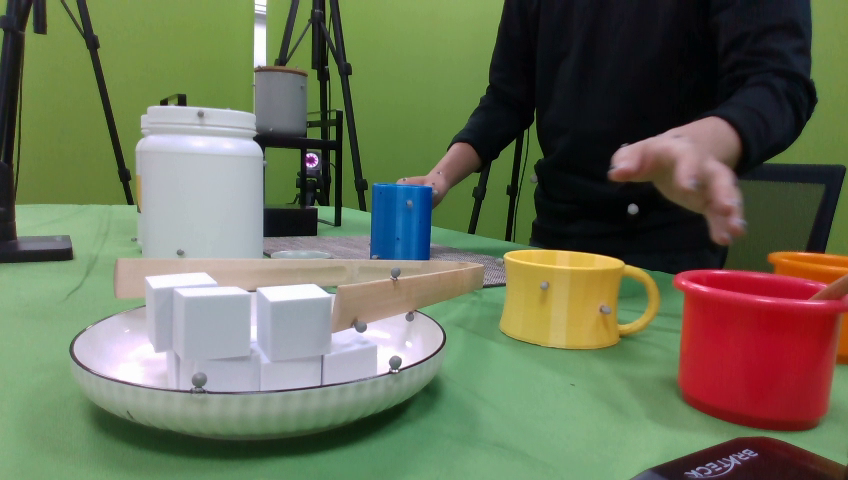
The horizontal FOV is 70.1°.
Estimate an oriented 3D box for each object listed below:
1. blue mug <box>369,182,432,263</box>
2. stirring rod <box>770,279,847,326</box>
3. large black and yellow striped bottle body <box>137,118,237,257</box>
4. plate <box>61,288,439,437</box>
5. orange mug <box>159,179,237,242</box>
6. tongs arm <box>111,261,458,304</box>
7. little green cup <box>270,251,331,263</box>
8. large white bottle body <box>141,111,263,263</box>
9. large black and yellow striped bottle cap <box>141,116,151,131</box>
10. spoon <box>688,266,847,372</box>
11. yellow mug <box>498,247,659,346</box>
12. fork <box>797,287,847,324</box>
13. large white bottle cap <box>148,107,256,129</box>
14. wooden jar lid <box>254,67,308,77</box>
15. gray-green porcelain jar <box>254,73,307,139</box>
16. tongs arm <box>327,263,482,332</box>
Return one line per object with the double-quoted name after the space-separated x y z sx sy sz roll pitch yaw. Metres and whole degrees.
-0.027 -0.026 0.835 0.082 0.106 0.117 5 7 19 "blue mug"
0.349 0.022 0.468 0.014 0.006 0.175 -12 -26 -50 "stirring rod"
-0.330 -0.075 0.849 0.131 0.184 0.130 2 8 0 "large black and yellow striped bottle body"
-0.095 0.069 0.362 0.208 0.039 0.207 3 7 0 "plate"
-0.368 -0.051 0.991 0.127 0.101 0.083 -10 14 -41 "orange mug"
-0.080 0.032 0.527 0.028 0.027 0.389 -3 -3 33 "tongs arm"
-0.129 0.034 0.629 0.061 0.038 0.061 2 6 0 "little green cup"
-0.254 -0.053 0.697 0.131 0.184 0.130 2 7 0 "large white bottle body"
-0.329 -0.158 0.837 0.115 0.019 0.115 2 6 0 "large black and yellow striped bottle cap"
0.216 0.032 0.327 0.042 0.021 0.193 2 -37 -23 "spoon"
0.130 0.045 0.508 0.131 0.064 0.100 4 7 5 "yellow mug"
0.324 0.018 0.441 0.028 0.018 0.207 -4 -36 -5 "fork"
-0.250 -0.137 0.686 0.115 0.018 0.115 3 8 0 "large white bottle cap"
-0.296 -0.339 1.251 0.108 0.020 0.108 1 7 0 "wooden jar lid"
-0.298 -0.277 1.259 0.106 0.126 0.106 3 7 0 "gray-green porcelain jar"
-0.003 0.036 0.493 0.050 0.026 0.386 1 0 19 "tongs arm"
